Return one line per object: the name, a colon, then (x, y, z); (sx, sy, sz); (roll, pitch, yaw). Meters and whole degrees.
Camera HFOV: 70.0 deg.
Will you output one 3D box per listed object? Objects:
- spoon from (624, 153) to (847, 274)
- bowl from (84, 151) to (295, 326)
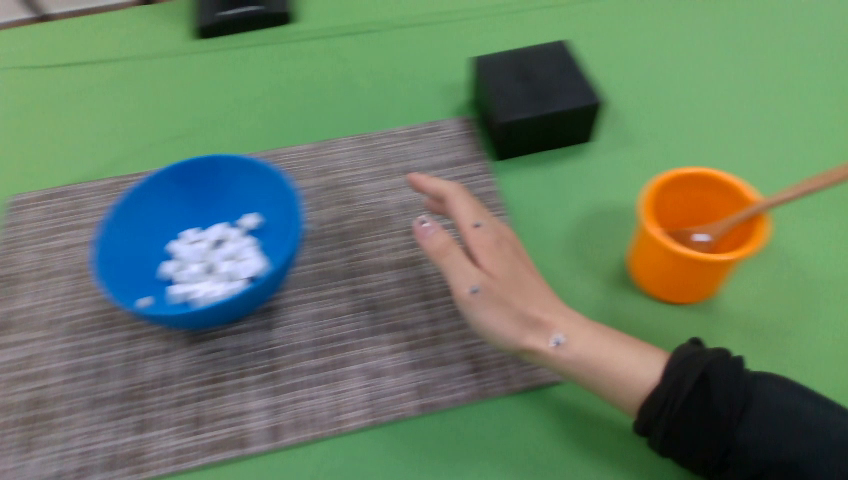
spoon: (0.238, -0.023, 0.448); (0.022, 0.193, 0.041); (27, 46, -34)
bowl: (-0.170, 0.011, 0.474); (0.151, 0.077, 0.150); (-1, 54, 1)
